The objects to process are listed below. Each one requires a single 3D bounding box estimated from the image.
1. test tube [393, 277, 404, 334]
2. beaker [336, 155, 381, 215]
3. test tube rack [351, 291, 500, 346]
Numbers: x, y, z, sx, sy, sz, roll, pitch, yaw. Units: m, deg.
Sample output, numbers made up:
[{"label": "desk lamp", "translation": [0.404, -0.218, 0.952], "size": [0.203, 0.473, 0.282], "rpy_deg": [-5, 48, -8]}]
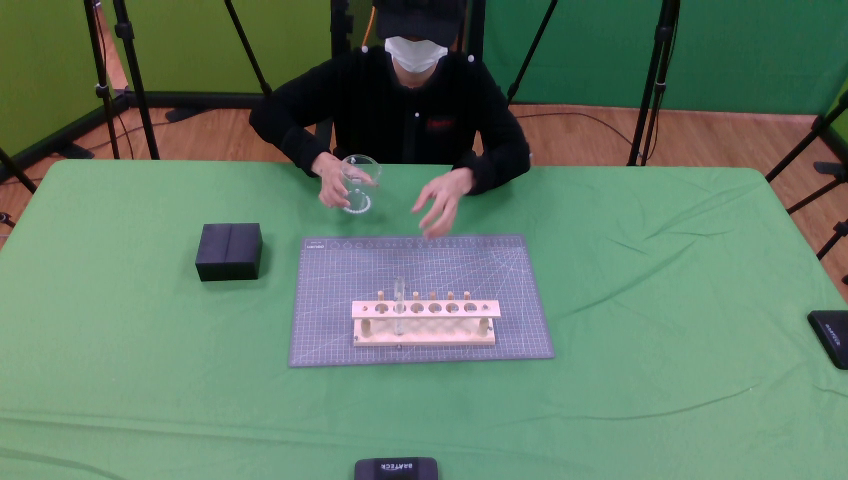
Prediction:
[{"label": "test tube", "translation": [-0.041, 0.108, 0.973], "size": [0.017, 0.151, 0.017], "rpy_deg": [2, 50, -2]}, {"label": "beaker", "translation": [-0.128, -0.104, 1.166], "size": [0.084, 0.100, 0.073], "rpy_deg": [-7, 56, -19]}, {"label": "test tube rack", "translation": [0.001, 0.129, 1.026], "size": [0.242, 0.085, 0.066], "rpy_deg": [0, 46, -4]}]
